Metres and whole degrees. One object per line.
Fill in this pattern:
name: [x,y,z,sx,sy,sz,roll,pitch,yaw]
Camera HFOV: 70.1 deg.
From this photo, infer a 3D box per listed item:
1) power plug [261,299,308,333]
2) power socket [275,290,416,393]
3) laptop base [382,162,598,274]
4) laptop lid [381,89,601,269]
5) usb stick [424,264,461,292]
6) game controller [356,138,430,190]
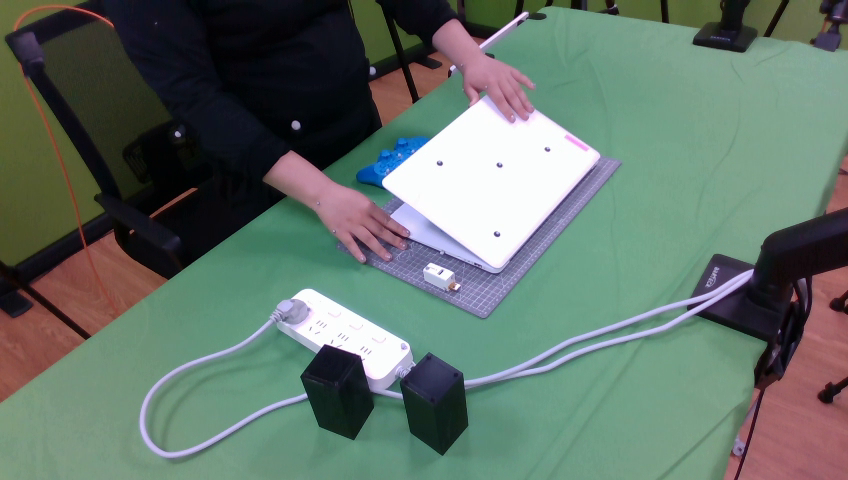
power plug: [-0.193,0.109,0.830,0.073,0.053,0.035,-36,48,-23]
power socket: [-0.114,0.133,0.821,0.225,0.033,0.072,24,48,32]
laptop base: [0.123,-0.081,1.049,0.233,0.023,0.355,20,47,33]
laptop lid: [0.125,-0.121,1.008,0.240,0.013,0.358,38,54,14]
usb stick: [0.028,0.058,0.889,0.058,0.027,0.021,24,46,31]
game controller: [-0.049,-0.150,1.136,0.096,0.052,0.155,28,52,27]
